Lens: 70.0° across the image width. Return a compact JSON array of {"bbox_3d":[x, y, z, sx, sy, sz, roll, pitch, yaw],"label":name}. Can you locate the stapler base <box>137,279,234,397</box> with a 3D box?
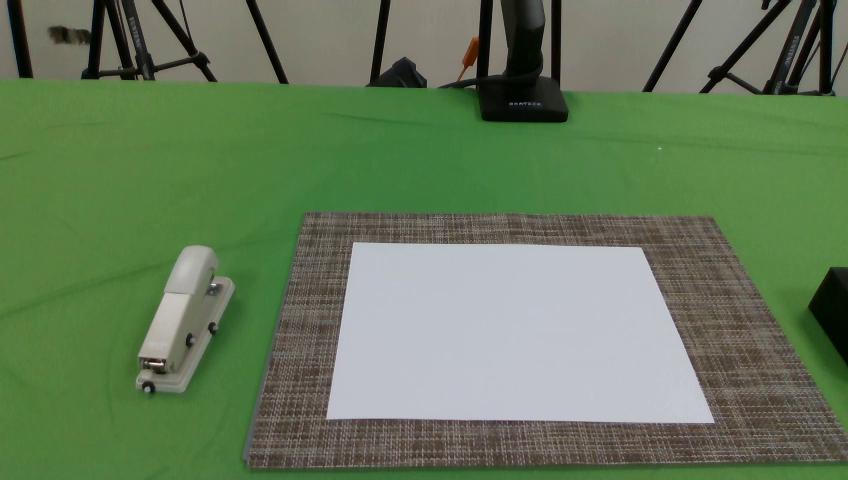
[{"bbox_3d":[-0.203,0.074,0.521,0.041,0.024,0.129,3,41,4],"label":"stapler base"}]

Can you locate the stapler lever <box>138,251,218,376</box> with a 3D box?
[{"bbox_3d":[-0.202,0.056,0.503,0.027,0.040,0.117,3,41,5],"label":"stapler lever"}]
